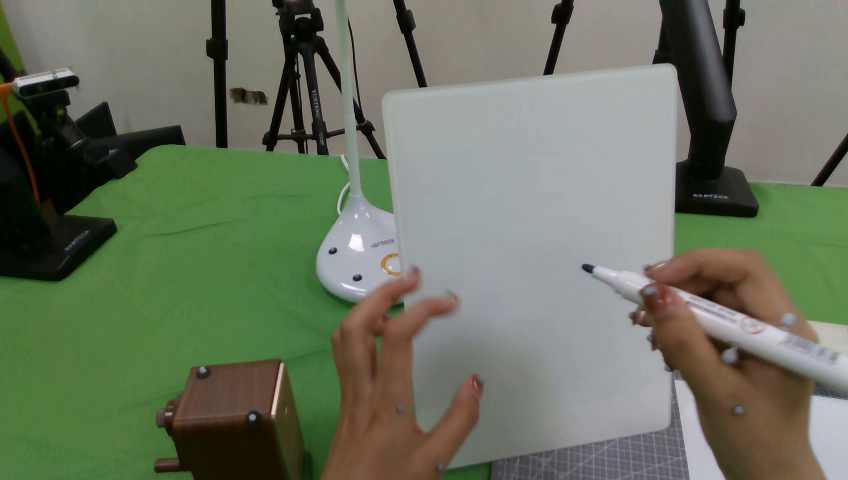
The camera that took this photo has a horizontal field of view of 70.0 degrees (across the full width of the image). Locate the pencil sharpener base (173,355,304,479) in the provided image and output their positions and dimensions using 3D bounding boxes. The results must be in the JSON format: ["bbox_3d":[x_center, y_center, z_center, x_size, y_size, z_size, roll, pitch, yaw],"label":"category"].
[{"bbox_3d":[-0.140,0.148,0.467,0.077,0.108,0.061,-4,36,-2],"label":"pencil sharpener base"}]

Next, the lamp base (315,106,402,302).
[{"bbox_3d":[-0.059,-0.049,0.683,0.161,0.182,0.177,-24,38,-28],"label":"lamp base"}]

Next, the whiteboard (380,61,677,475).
[{"bbox_3d":[0.082,0.014,0.528,0.217,0.307,0.143,-7,16,-6],"label":"whiteboard"}]

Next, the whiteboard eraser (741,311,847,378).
[{"bbox_3d":[0.356,0.101,0.565,0.112,0.042,0.055,8,37,13],"label":"whiteboard eraser"}]

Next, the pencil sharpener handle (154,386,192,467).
[{"bbox_3d":[-0.191,0.143,0.454,0.031,0.068,0.035,-4,22,-2],"label":"pencil sharpener handle"}]

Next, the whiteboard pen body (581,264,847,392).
[{"bbox_3d":[0.138,0.037,0.290,0.139,0.017,0.017,24,42,34],"label":"whiteboard pen body"}]
